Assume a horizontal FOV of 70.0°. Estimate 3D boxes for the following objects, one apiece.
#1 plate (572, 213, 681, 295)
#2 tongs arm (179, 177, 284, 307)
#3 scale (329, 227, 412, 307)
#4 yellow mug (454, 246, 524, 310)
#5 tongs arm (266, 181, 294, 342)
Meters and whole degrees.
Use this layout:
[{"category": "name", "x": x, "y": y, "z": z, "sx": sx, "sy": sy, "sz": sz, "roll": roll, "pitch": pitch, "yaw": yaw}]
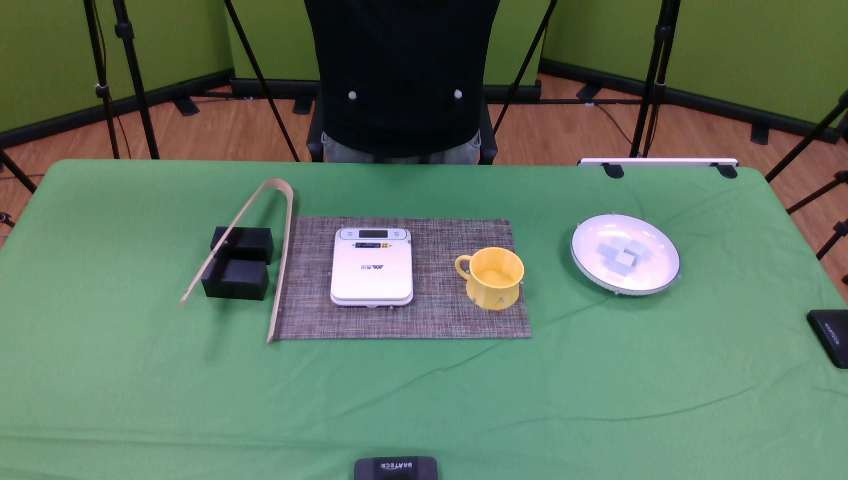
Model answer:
[{"category": "plate", "x": 0.392, "y": 0.030, "z": 1.189, "sx": 0.208, "sy": 0.039, "sz": 0.206, "roll": 2, "pitch": 46, "yaw": -2}, {"category": "tongs arm", "x": -0.342, "y": -0.008, "z": 1.118, "sx": 0.051, "sy": 0.026, "sz": 0.382, "roll": 29, "pitch": 38, "yaw": -14}, {"category": "scale", "x": -0.099, "y": 0.042, "z": 1.139, "sx": 0.149, "sy": 0.032, "sz": 0.199, "roll": 1, "pitch": 46, "yaw": -4}, {"category": "yellow mug", "x": 0.114, "y": 0.063, "z": 1.110, "sx": 0.130, "sy": 0.064, "sz": 0.099, "roll": 21, "pitch": 48, "yaw": 17}, {"category": "tongs arm", "x": -0.273, "y": 0.027, "z": 1.144, "sx": 0.028, "sy": 0.028, "sz": 0.385, "roll": 17, "pitch": 42, "yaw": -22}]
